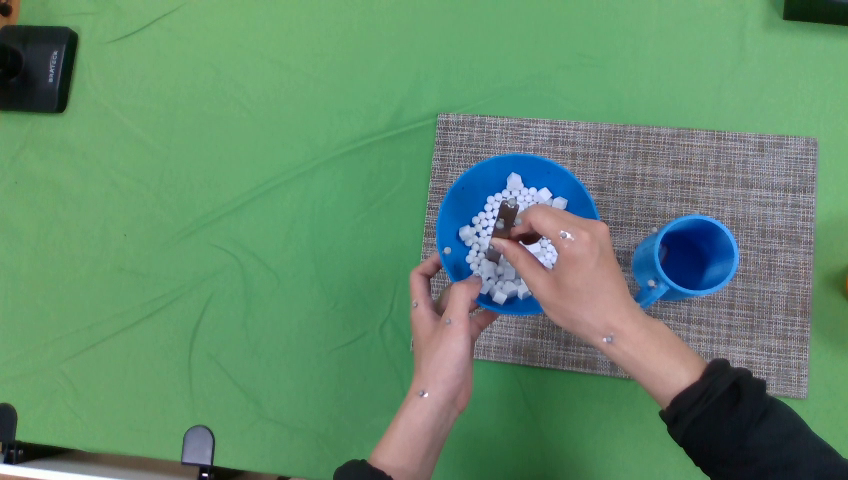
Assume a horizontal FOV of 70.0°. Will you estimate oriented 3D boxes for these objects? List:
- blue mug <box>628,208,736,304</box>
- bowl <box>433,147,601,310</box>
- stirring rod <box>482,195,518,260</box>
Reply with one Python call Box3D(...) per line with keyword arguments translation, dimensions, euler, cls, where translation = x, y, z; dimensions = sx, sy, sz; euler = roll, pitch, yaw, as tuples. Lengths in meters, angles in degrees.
Box3D(translation=(0.266, 0.027, 0.658), dimensions=(0.082, 0.106, 0.116), euler=(44, 90, 10), cls="blue mug")
Box3D(translation=(0.084, -0.005, 0.579), dimensions=(0.151, 0.077, 0.151), euler=(0, 81, 1), cls="bowl")
Box3D(translation=(0.061, -0.006, 0.507), dimensions=(0.014, 0.177, 0.006), euler=(12, 75, 5), cls="stirring rod")
